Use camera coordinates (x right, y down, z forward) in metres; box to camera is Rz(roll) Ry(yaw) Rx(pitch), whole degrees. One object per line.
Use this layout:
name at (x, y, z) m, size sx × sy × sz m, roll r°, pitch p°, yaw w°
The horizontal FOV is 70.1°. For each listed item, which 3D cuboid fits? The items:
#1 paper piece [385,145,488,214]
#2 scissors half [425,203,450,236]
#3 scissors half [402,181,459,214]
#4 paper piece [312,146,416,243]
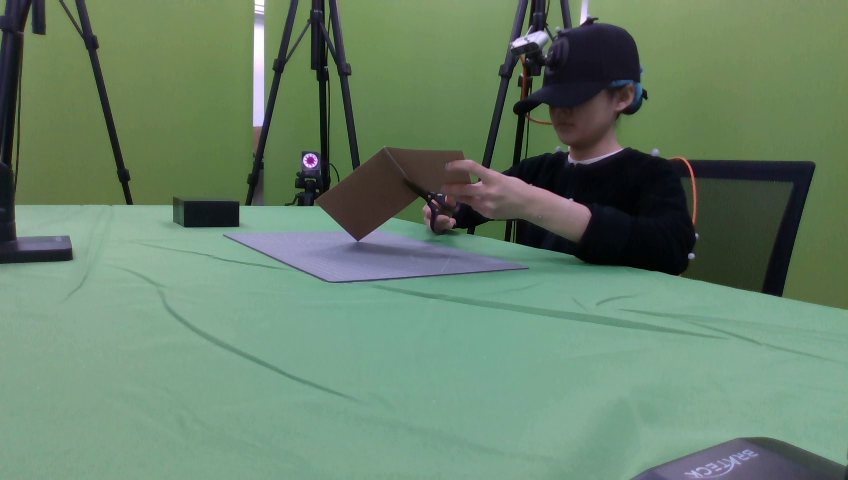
paper piece at (0.020, -0.090, 0.916) m, size 0.135 × 0.004 × 0.136 m, roll 12°, pitch -29°, yaw 33°
scissors half at (0.005, -0.057, 1.026) m, size 0.013 × 0.040 × 0.176 m, roll 20°, pitch -22°, yaw 34°
scissors half at (0.015, -0.077, 1.028) m, size 0.012 × 0.040 × 0.176 m, roll 26°, pitch 7°, yaw 35°
paper piece at (-0.088, -0.066, 0.957) m, size 0.136 × 0.138 × 0.008 m, roll 49°, pitch 5°, yaw -48°
